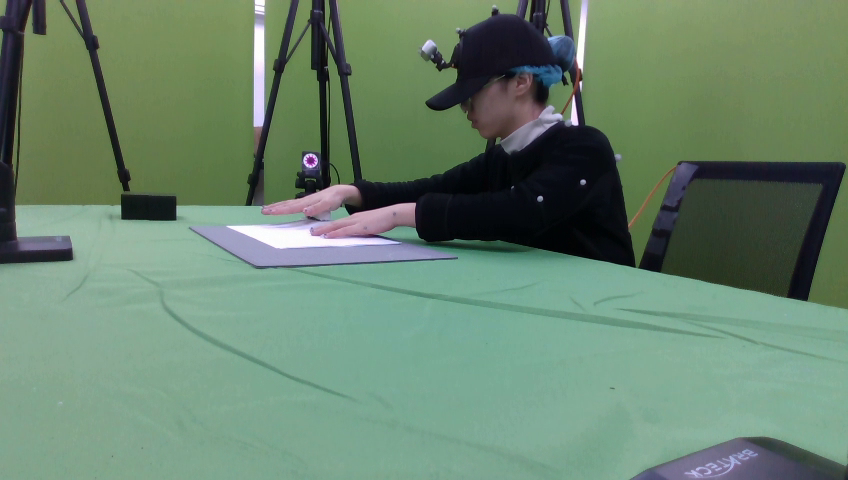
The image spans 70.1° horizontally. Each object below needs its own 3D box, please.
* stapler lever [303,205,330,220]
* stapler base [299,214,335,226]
[{"bbox_3d":[-0.225,-0.060,1.264,0.027,0.040,0.117,1,17,-28],"label":"stapler lever"},{"bbox_3d":[-0.225,-0.046,1.266,0.041,0.024,0.130,1,5,-28],"label":"stapler base"}]
